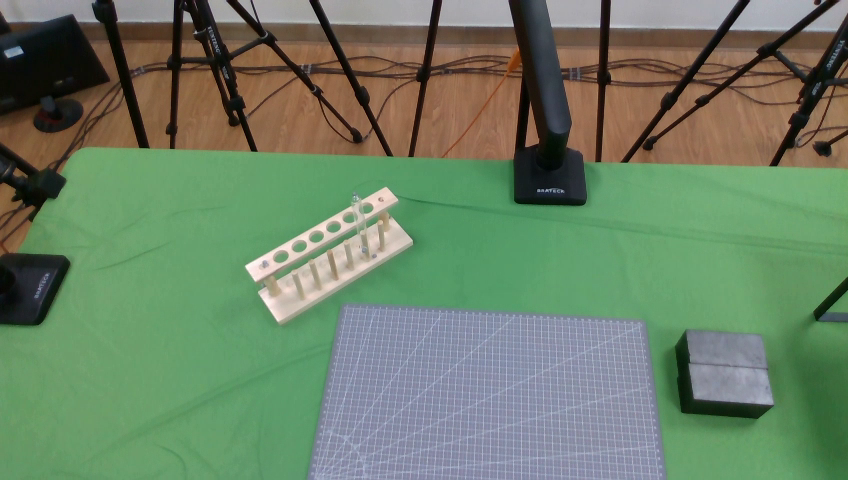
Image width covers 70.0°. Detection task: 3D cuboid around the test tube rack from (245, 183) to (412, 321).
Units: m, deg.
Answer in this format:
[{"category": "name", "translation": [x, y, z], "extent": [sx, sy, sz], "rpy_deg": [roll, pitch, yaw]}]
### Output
[{"category": "test tube rack", "translation": [-0.137, 0.016, 0.916], "extent": [0.242, 0.086, 0.066], "rpy_deg": [-32, 59, -18]}]

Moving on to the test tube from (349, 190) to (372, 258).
[{"category": "test tube", "translation": [-0.092, -0.020, 0.885], "extent": [0.017, 0.151, 0.017], "rpy_deg": [-1, 54, 2]}]
